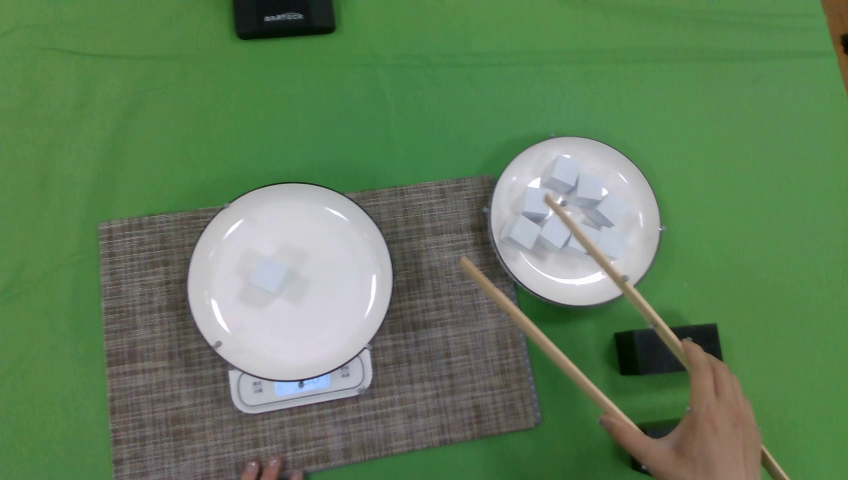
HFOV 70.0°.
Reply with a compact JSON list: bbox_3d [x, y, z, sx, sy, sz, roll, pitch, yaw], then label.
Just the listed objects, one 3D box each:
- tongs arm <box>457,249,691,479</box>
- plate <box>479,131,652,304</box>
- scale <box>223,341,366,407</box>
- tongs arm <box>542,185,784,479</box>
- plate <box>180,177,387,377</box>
[{"bbox_3d":[0.171,0.143,0.564,0.028,0.028,0.385,-41,77,-20],"label":"tongs arm"},{"bbox_3d":[0.165,-0.025,0.722,0.208,0.039,0.206,2,79,-7],"label":"plate"},{"bbox_3d":[-0.148,0.072,0.662,0.149,0.031,0.200,-8,80,-9],"label":"scale"},{"bbox_3d":[0.221,0.106,0.579,0.051,0.026,0.382,-34,76,-15],"label":"tongs arm"},{"bbox_3d":[-0.143,0.037,0.635,0.209,0.038,0.208,2,79,-8],"label":"plate"}]
